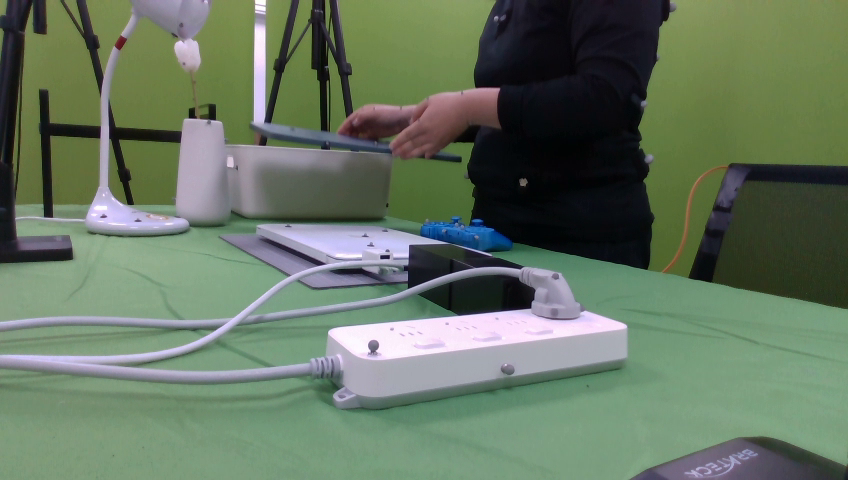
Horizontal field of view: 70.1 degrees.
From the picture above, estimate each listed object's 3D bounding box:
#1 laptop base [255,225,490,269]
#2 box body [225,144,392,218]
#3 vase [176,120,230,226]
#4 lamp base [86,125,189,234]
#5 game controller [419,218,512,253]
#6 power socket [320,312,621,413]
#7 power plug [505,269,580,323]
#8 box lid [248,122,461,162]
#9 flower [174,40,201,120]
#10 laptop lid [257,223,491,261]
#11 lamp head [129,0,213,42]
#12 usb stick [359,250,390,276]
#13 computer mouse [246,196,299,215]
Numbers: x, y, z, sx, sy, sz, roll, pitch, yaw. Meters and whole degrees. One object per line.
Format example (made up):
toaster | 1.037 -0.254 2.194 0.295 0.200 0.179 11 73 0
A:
laptop base | -0.095 0.010 0.911 0.237 0.023 0.352 3 6 -32
box body | -0.289 -0.143 1.475 0.366 0.160 0.253 -1 9 -29
vase | -0.425 -0.128 1.159 0.098 0.200 0.098 2 9 0
lamp base | -0.497 -0.105 1.027 0.179 0.180 0.160 1 7 3
game controller | 0.063 -0.009 1.028 0.154 0.051 0.097 9 15 43
power socket | 0.038 0.075 0.409 0.228 0.032 0.072 -2 8 -29
power plug | 0.092 0.051 0.470 0.035 0.052 0.072 0 7 -16
box lid | -0.139 -0.191 1.176 0.373 0.015 0.262 3 13 -27
flower | -0.430 -0.211 1.165 0.044 0.361 0.038 -10 -5 -24
laptop lid | -0.092 0.000 0.911 0.243 0.013 0.355 1 7 -30
lamp head | -0.423 -0.395 0.980 0.123 0.112 0.112 20 7 -3
usb stick | -0.061 0.026 0.709 0.021 0.027 0.059 -1 3 -29
computer mouse | -0.355 -0.082 1.418 0.117 0.041 0.063 0 9 7
